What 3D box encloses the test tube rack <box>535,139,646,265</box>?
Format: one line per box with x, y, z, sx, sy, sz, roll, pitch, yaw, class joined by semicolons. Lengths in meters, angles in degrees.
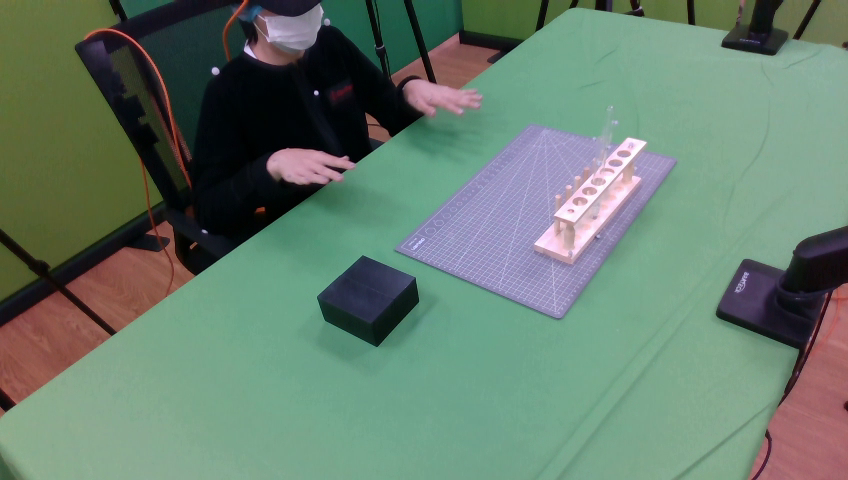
0.269;-0.071;0.964;0.066;0.085;0.243;23;49;32;test tube rack

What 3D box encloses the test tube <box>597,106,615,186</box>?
0.295;-0.150;0.984;0.017;0.151;0.017;-4;41;4;test tube

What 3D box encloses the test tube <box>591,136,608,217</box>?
0.264;-0.092;0.912;0.017;0.151;0.017;-5;44;6;test tube
